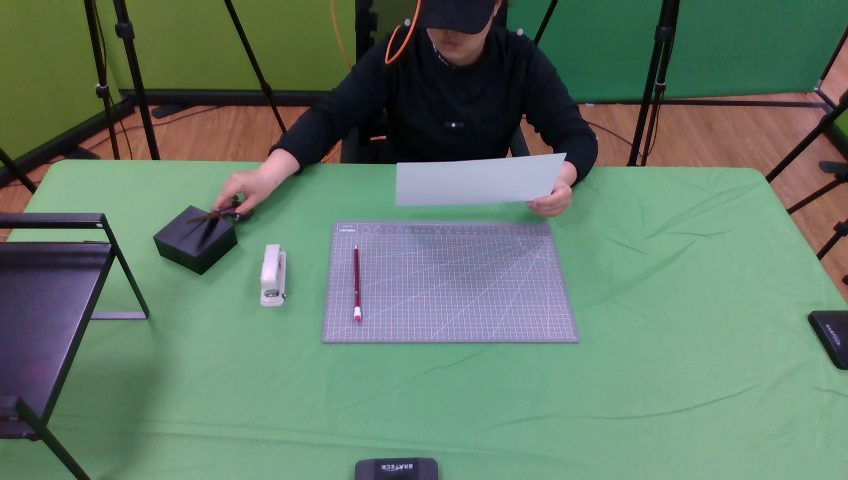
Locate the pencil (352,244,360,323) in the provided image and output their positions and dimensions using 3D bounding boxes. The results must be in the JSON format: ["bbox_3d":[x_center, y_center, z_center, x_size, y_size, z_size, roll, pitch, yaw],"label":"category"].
[{"bbox_3d":[-0.127,0.075,1.120,0.012,0.012,0.192,-3,44,-7],"label":"pencil"}]

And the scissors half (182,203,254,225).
[{"bbox_3d":[-0.389,-0.048,1.155,0.040,0.013,0.175,19,23,26],"label":"scissors half"}]

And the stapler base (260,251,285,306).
[{"bbox_3d":[-0.279,0.064,1.113,0.041,0.024,0.129,-1,44,-9],"label":"stapler base"}]

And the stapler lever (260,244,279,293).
[{"bbox_3d":[-0.279,0.045,1.096,0.027,0.040,0.117,-1,44,-9],"label":"stapler lever"}]

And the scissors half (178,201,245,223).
[{"bbox_3d":[-0.406,-0.052,1.163,0.040,0.013,0.175,9,18,19],"label":"scissors half"}]
